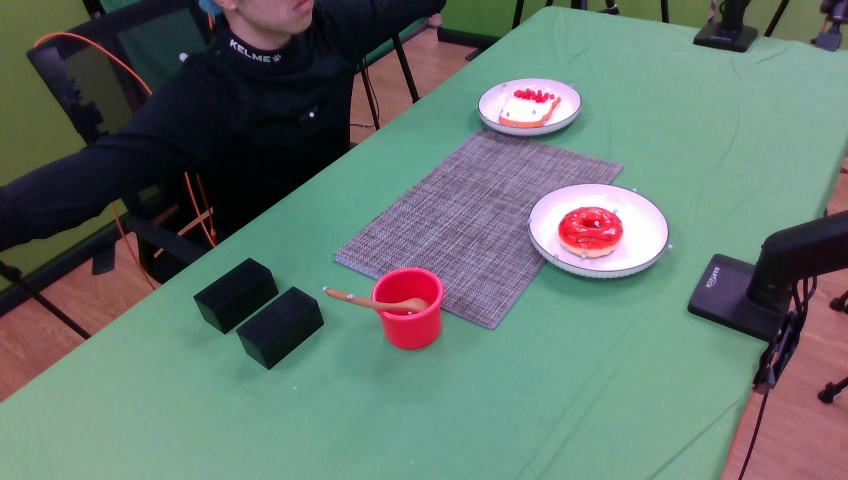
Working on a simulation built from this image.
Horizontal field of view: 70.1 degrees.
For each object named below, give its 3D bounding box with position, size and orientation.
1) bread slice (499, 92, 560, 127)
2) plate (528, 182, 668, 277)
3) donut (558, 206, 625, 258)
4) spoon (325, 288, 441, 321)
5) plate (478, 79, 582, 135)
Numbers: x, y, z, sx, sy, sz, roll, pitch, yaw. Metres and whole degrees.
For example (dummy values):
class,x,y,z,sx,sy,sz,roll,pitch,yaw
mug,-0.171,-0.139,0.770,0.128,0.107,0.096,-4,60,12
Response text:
class,x,y,z,sx,sy,sz,roll,pitch,yaw
bread slice,0.214,-0.268,1.243,0.104,0.019,0.131,12,43,21
plate,0.264,-0.014,0.933,0.207,0.039,0.206,-3,42,3
donut,0.254,-0.015,0.917,0.099,0.048,0.098,-5,41,5
spoon,-0.047,0.084,0.776,0.195,0.021,0.041,12,27,-42
plate,0.216,-0.268,1.239,0.209,0.038,0.208,-4,40,4
